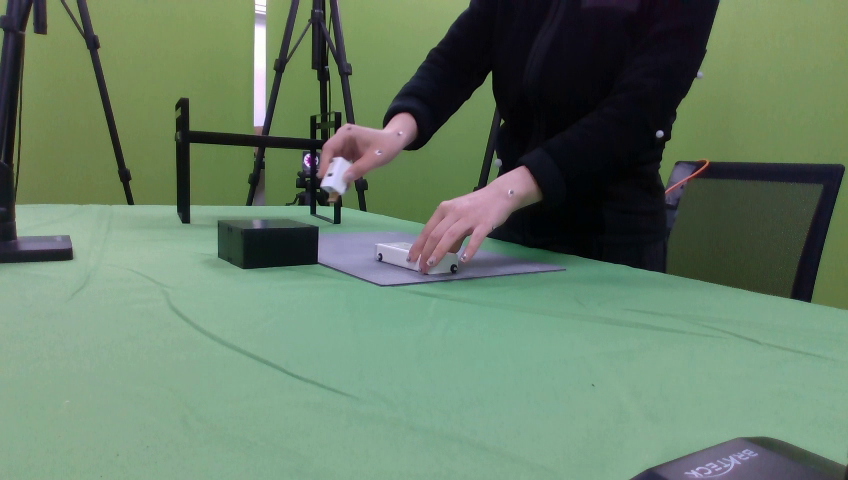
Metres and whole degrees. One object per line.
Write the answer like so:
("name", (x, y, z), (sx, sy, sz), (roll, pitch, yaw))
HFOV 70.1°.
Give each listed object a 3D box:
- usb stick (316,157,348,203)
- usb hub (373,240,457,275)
("usb stick", (-0.123, -0.078, 0.800), (0.021, 0.059, 0.027), (3, -21, 39))
("usb hub", (-0.015, 0.021, 0.798), (0.050, 0.025, 0.124), (-6, 11, -38))
